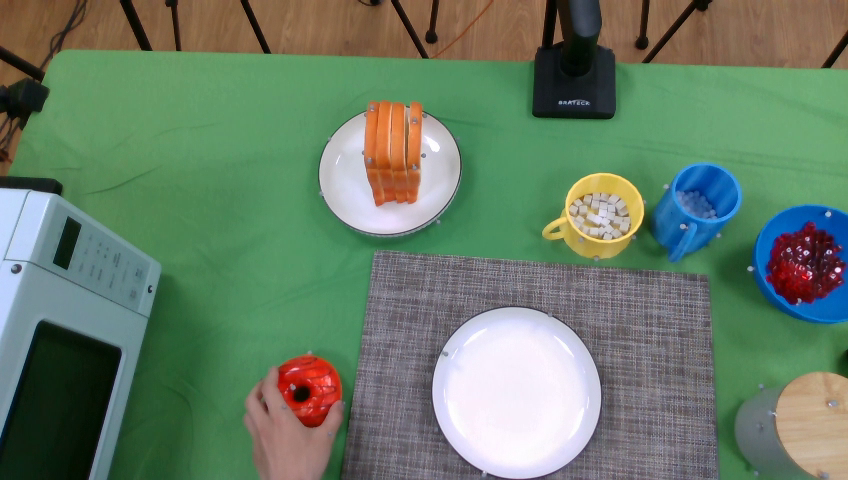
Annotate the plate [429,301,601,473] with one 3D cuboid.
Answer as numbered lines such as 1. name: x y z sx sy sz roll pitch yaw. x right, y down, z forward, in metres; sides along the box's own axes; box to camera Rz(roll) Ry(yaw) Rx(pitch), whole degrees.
1. plate: 0.111 0.180 0.753 0.209 0.038 0.207 -2 70 5

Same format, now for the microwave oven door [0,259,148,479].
1. microwave oven door: -0.420 0.224 0.660 0.039 0.245 0.353 4 70 7

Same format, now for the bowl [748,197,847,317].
1. bowl: 0.474 0.030 0.757 0.151 0.077 0.150 -2 70 5

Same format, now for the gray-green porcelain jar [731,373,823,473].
1. gray-green porcelain jar: 0.412 0.204 0.674 0.106 0.127 0.105 -2 70 5

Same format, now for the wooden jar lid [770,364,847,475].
1. wooden jar lid: 0.406 0.182 0.616 0.108 0.021 0.107 -1 72 3

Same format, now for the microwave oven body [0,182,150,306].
1. microwave oven body: -0.560 0.176 0.695 0.326 0.262 0.439 4 71 6

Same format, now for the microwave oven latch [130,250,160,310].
1. microwave oven latch: -0.386 0.053 0.827 0.030 0.030 0.078 8 72 8

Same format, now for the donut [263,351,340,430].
1. donut: -0.156 0.192 0.774 0.099 0.048 0.098 0 71 2

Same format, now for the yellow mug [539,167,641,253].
1. yellow mug: 0.217 -0.034 0.810 0.131 0.064 0.099 -18 69 0

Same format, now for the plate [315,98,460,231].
1. plate: -0.051 -0.107 0.875 0.207 0.039 0.206 -2 70 5

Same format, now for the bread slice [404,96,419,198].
1. bread slice: -0.017 -0.128 0.822 0.019 0.132 0.104 2 72 -2

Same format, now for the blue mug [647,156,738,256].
1. blue mug: 0.336 -0.033 0.778 0.082 0.106 0.116 23 74 13

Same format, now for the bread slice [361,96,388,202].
1. bread slice: -0.067 -0.130 0.826 0.018 0.135 0.106 1 66 4
